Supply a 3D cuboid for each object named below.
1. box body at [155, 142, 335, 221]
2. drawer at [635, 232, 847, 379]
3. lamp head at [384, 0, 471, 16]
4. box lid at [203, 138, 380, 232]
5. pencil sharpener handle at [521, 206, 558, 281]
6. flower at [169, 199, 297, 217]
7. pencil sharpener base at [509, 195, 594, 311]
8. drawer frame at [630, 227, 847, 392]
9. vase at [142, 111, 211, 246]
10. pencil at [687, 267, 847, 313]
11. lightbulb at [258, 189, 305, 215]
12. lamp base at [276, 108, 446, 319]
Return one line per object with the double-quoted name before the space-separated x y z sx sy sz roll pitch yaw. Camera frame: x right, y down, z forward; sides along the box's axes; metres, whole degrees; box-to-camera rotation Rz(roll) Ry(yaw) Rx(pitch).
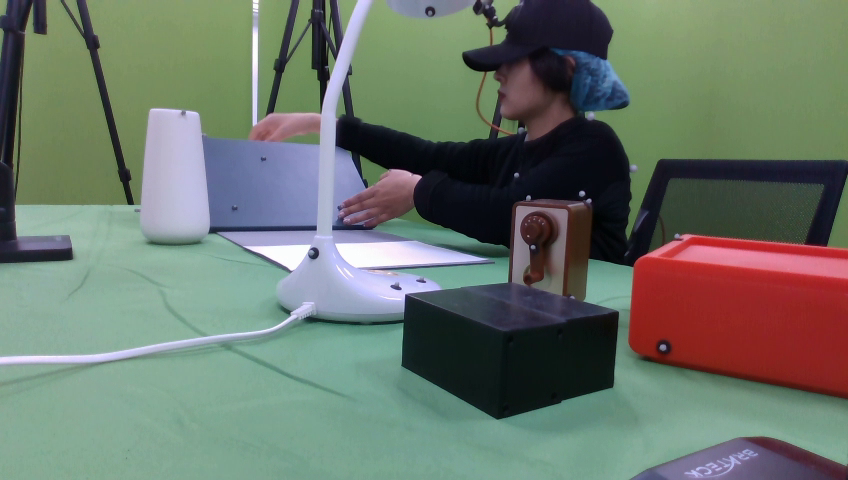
"box body" -0.411 -0.135 1.386 0.366 0.160 0.253 -2 9 -29
"drawer" 0.292 0.044 0.488 0.193 0.073 0.213 7 9 30
"lamp head" -0.001 -0.301 0.599 0.112 0.112 0.123 4 -30 14
"box lid" -0.286 -0.112 1.202 0.373 0.015 0.262 -2 46 -30
"pencil sharpener handle" 0.101 0.003 0.555 0.036 0.067 0.031 0 5 31
"flower" -0.423 -0.068 1.398 0.044 0.038 0.363 1 1 31
"pencil sharpener base" 0.126 0.011 0.601 0.061 0.107 0.077 7 9 30
"drawer frame" 0.292 0.043 0.484 0.201 0.082 0.214 7 9 29
"vase" -0.378 -0.093 0.920 0.098 0.200 0.098 2 9 0
"pencil" 0.308 0.044 0.515 0.194 0.012 0.012 13 5 -12
"lightbulb" -0.325 -0.081 1.382 0.108 0.059 0.059 -14 9 -5
"lamp base" -0.061 -0.027 0.556 0.160 0.180 0.180 4 10 20
